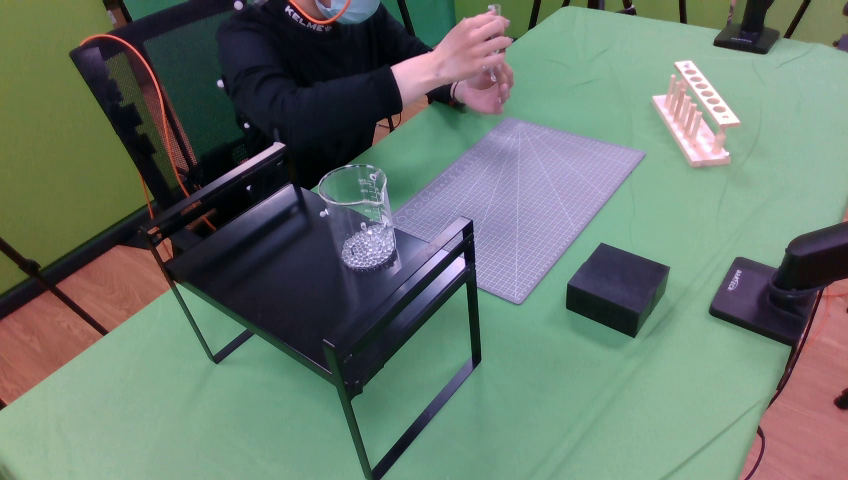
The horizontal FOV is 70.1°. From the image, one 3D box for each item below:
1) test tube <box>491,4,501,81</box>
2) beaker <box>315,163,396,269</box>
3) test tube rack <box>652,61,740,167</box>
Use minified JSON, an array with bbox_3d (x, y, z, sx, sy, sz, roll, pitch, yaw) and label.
[{"bbox_3d":[0.124,-0.337,1.045,0.017,0.151,0.017,-3,53,5],"label":"test tube"},{"bbox_3d":[-0.069,-0.024,0.671,0.083,0.101,0.074,27,52,32],"label":"beaker"},{"bbox_3d":[0.499,-0.241,1.130,0.067,0.085,0.241,-5,41,3],"label":"test tube rack"}]
